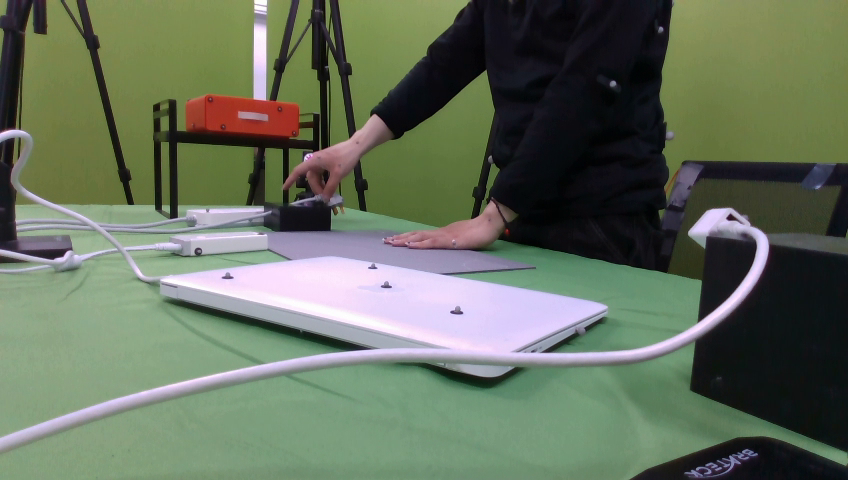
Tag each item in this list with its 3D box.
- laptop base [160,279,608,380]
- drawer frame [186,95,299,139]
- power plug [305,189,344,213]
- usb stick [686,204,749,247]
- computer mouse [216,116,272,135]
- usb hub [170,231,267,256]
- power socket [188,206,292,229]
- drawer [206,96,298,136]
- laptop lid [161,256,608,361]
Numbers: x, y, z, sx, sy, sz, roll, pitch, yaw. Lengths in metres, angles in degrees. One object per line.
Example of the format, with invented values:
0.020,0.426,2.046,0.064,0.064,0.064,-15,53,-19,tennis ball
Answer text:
-0.039,0.059,0.555,0.352,0.023,0.237,8,7,33,laptop base
-0.417,-0.277,1.378,0.203,0.082,0.212,-3,8,-32,drawer frame
-0.195,-0.073,1.201,0.073,0.052,0.035,-17,-4,-9,power plug
0.214,-0.010,0.448,0.021,0.027,0.059,39,2,6,usb stick
-0.402,-0.257,1.353,0.118,0.041,0.062,-5,14,-35,computer mouse
-0.290,0.004,0.862,0.049,0.025,0.126,10,11,42,usb hub
-0.363,-0.048,1.208,0.072,0.032,0.228,7,9,36,power socket
-0.414,-0.275,1.376,0.195,0.073,0.210,-3,8,-31,drawer
-0.037,0.046,0.556,0.355,0.013,0.243,8,7,35,laptop lid
